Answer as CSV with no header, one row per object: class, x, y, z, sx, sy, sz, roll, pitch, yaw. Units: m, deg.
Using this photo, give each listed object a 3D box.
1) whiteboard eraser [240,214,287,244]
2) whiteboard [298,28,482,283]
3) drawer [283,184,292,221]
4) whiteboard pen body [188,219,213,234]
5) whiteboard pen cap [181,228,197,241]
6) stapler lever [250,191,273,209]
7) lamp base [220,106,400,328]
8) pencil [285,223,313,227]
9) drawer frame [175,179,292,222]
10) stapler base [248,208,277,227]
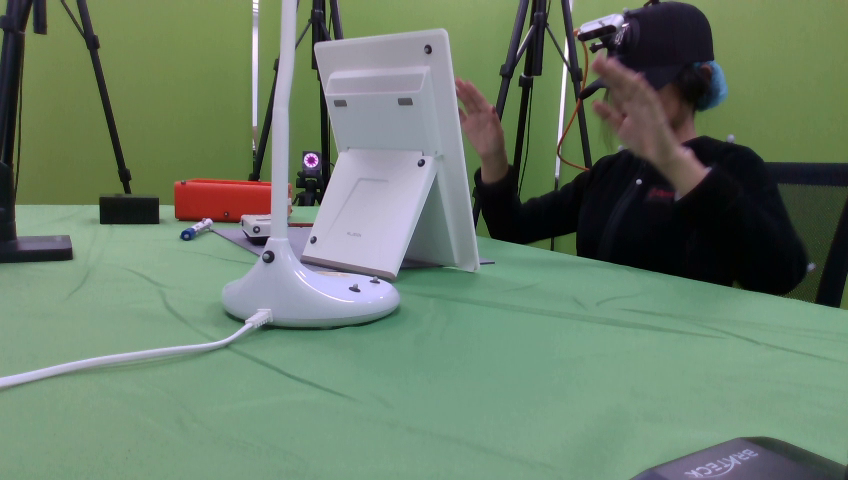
whiteboard eraser,-0.256,-0.018,0.958,0.056,0.042,0.112,0,8,-25
whiteboard,-0.075,-0.082,0.741,0.216,0.305,0.144,9,29,38
drawer,-0.397,-0.086,1.314,0.212,0.073,0.194,1,8,-9
whiteboard pen body,-0.382,-0.020,1.026,0.017,0.017,0.140,2,9,-6
whiteboard pen cap,-0.375,-0.010,0.968,0.018,0.018,0.033,2,10,-6
stapler lever,-0.350,-0.086,1.305,0.027,0.040,0.118,1,5,-4
lamp base,-0.101,-0.023,0.531,0.160,0.180,0.179,4,10,10
pencil,-0.234,-0.030,1.198,0.195,0.012,0.012,0,8,-20
drawer frame,-0.402,-0.087,1.311,0.214,0.082,0.201,1,8,-9
stapler base,-0.350,-0.053,1.310,0.041,0.024,0.130,1,13,-4
